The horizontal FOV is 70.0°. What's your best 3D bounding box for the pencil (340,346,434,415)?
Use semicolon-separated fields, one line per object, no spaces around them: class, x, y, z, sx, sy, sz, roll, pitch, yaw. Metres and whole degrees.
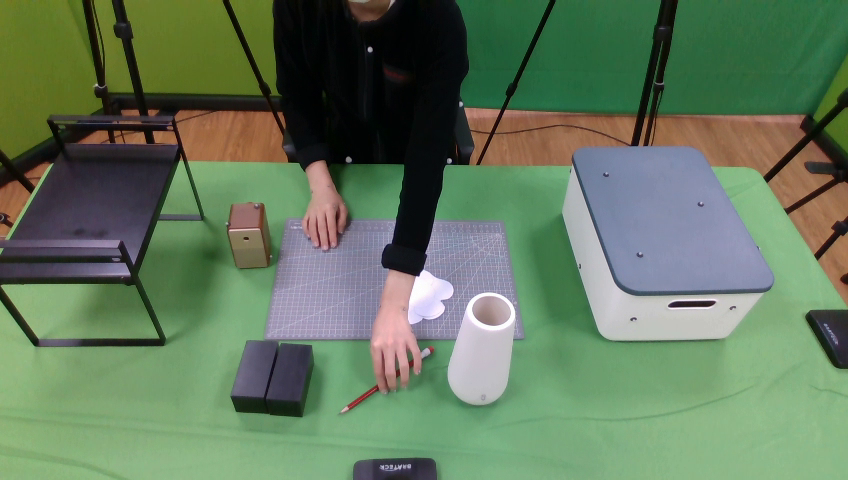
pencil;-0.058;0.227;0.983;0.194;0.012;0.012;-31;56;-29

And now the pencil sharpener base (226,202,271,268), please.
pencil sharpener base;-0.323;-0.010;1.123;0.061;0.107;0.076;-3;46;-7

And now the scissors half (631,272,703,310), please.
scissors half;0.460;0.092;1.132;0.175;0.040;0.013;-22;83;-21

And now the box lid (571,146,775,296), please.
box lid;0.424;-0.048;1.073;0.263;0.015;0.369;-1;47;-4

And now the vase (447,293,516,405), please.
vase;0.091;0.169;0.921;0.098;0.201;0.097;3;47;-3

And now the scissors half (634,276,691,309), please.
scissors half;0.454;0.096;1.144;0.175;0.040;0.013;-20;89;-31

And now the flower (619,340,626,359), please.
flower;0.416;0.065;1.186;0.038;0.044;0.360;29;64;-20

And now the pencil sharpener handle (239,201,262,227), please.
pencil sharpener handle;-0.325;-0.055;1.150;0.036;0.068;0.030;-13;46;3

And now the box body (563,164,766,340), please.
box body;0.421;0.003;1.130;0.254;0.161;0.361;0;46;-5
